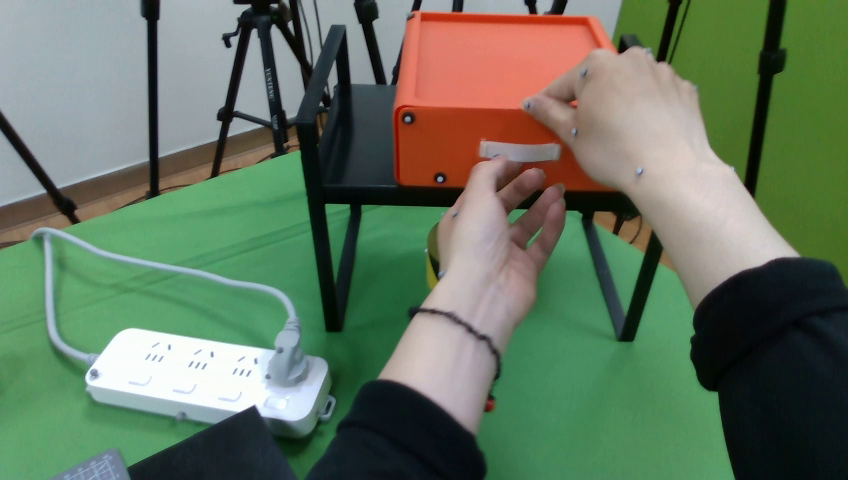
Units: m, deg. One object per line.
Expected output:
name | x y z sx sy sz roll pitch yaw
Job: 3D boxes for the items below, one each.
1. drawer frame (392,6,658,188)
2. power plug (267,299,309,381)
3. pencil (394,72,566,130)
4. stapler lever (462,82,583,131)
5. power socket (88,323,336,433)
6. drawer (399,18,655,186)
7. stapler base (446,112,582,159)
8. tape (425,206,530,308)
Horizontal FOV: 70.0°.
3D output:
drawer frame | 0.078 -0.138 0.553 0.202 0.083 0.211 1 39 0
power plug | -0.114 0.097 0.548 0.035 0.053 0.072 15 42 15
pencil | 0.058 -0.135 0.591 0.194 0.012 0.012 -21 44 -19
stapler lever | 0.088 -0.117 0.528 0.118 0.040 0.026 -9 45 -24
power socket | -0.192 0.123 0.550 0.226 0.033 0.071 8 39 8
drawer | 0.079 -0.135 0.551 0.194 0.074 0.209 1 39 1
stapler base | 0.084 -0.098 0.543 0.131 0.024 0.041 -9 45 -25
tape | 0.059 0.016 0.672 0.117 0.053 0.115 1 41 -1
